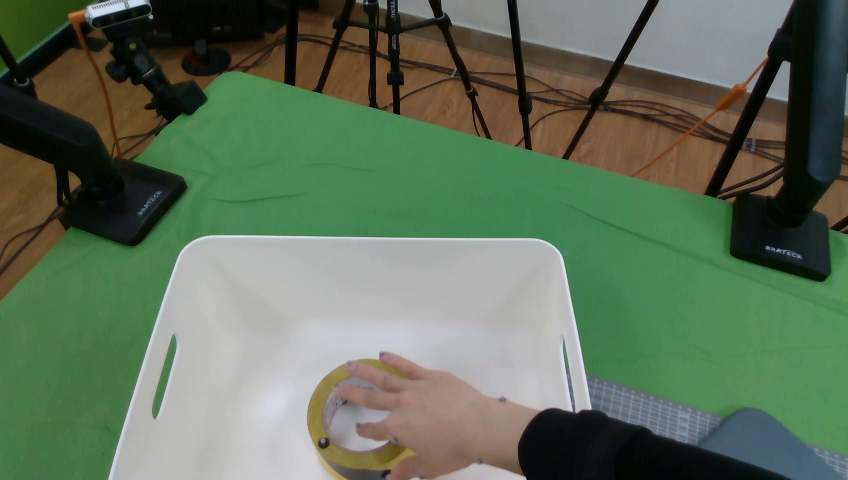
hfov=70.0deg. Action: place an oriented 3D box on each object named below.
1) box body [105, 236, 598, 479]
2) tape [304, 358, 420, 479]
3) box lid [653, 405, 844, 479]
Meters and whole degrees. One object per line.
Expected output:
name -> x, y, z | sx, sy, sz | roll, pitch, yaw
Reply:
box body -> -0.051, 0.144, 0.566 | 0.364, 0.162, 0.251 | 0, 52, -1
tape -> -0.061, 0.178, 0.601 | 0.117, 0.053, 0.115 | 1, 51, -1
box lid -> 0.353, 0.345, 0.519 | 0.263, 0.015, 0.368 | -30, 59, -23
